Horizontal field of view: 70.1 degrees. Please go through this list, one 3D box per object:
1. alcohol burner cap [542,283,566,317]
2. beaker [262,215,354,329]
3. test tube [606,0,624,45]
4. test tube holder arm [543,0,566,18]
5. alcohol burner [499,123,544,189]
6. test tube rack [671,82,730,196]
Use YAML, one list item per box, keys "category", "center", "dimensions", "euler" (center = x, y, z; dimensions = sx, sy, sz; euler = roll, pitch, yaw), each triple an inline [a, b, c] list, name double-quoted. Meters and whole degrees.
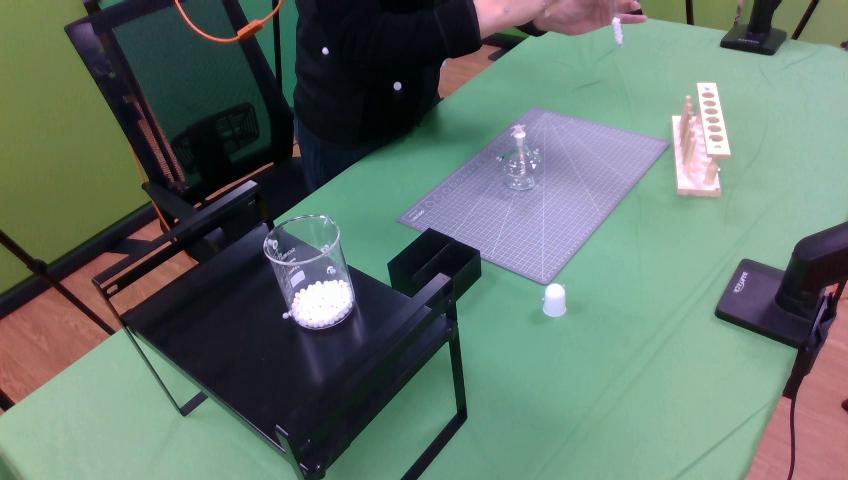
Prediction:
- category: "alcohol burner cap"
  center: [0.181, 0.081, 0.839]
  dimensions: [0.034, 0.048, 0.033]
  euler: [-4, 41, 4]
- category: "beaker"
  center: [-0.112, 0.034, 0.616]
  dimensions: [0.073, 0.101, 0.084]
  euler: [13, 44, 23]
- category: "test tube"
  center: [0.296, -0.377, 0.955]
  dimensions: [0.017, 0.151, 0.017]
  euler: [-17, 38, 14]
- category: "test tube holder arm"
  center: [0.227, -0.380, 0.876]
  dimensions: [0.013, 0.015, 0.178]
  euler: [21, 62, 42]
- category: "alcohol burner"
  center: [0.169, -0.149, 1.048]
  dimensions: [0.078, 0.119, 0.077]
  euler: [-6, 41, 5]
- category: "test tube rack"
  center: [0.482, -0.184, 1.067]
  dimensions: [0.066, 0.085, 0.242]
  euler: [6, 42, 14]
